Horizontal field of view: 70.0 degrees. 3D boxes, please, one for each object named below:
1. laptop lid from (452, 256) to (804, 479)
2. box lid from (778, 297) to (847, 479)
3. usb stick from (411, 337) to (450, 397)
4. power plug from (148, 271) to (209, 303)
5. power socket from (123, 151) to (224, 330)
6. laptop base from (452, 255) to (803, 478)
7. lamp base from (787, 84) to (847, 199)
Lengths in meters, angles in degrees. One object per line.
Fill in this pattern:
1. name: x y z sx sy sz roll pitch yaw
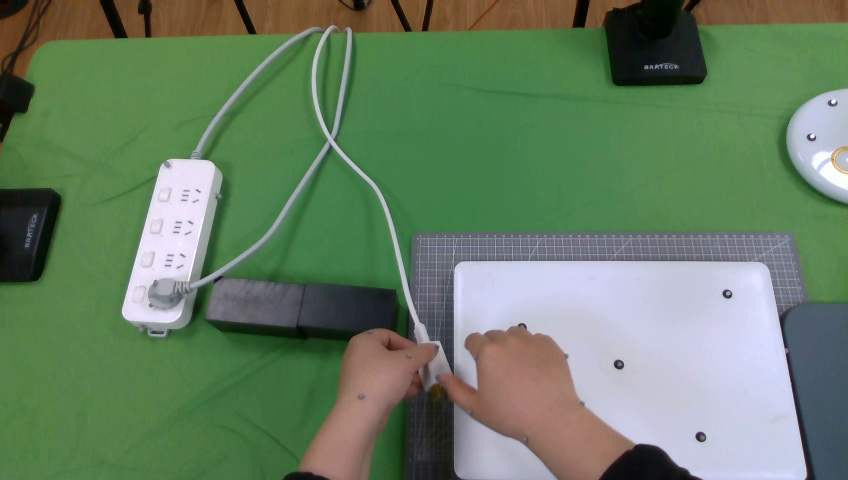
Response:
1. laptop lid: 0.206 0.128 0.645 0.356 0.013 0.240 2 71 3
2. box lid: 0.517 0.233 0.607 0.263 0.015 0.368 0 68 1
3. usb stick: 0.007 0.127 0.600 0.027 0.021 0.058 14 51 -38
4. power plug: -0.272 0.057 0.675 0.072 0.053 0.035 14 68 7
5. power socket: -0.295 -0.006 0.723 0.072 0.033 0.225 4 68 3
6. laptop base: 0.207 0.130 0.657 0.354 0.023 0.234 0 71 2
7. lamp base: 0.531 -0.158 0.673 0.160 0.181 0.178 32 70 14
